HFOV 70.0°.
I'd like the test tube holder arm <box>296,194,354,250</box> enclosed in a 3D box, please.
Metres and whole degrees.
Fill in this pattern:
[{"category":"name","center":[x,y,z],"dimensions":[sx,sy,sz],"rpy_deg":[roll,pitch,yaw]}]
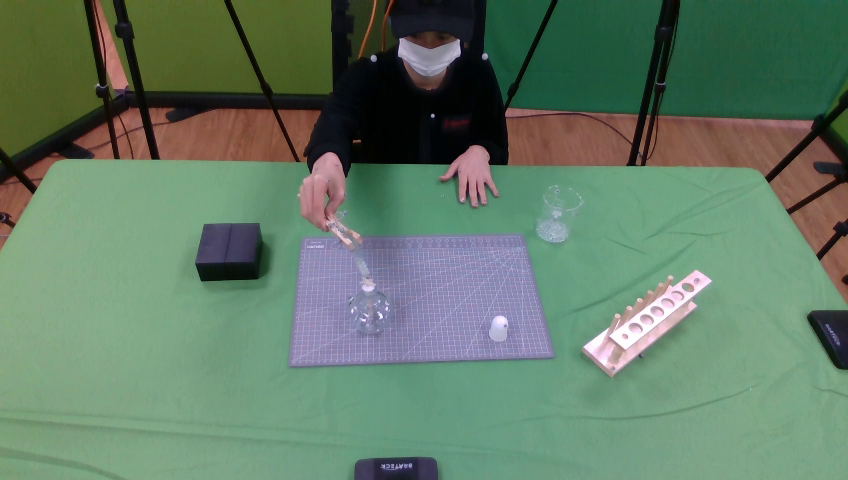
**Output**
[{"category":"test tube holder arm","center":[-0.157,-0.032,0.940],"dimensions":[0.013,0.015,0.177],"rpy_deg":[-35,44,-18]}]

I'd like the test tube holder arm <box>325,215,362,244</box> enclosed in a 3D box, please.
[{"category":"test tube holder arm","center":[-0.125,-0.016,0.913],"dimensions":[0.087,0.015,0.010],"rpy_deg":[27,59,39]}]

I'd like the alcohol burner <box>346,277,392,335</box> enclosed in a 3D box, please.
[{"category":"alcohol burner","center":[-0.093,0.106,1.021],"dimensions":[0.078,0.120,0.077],"rpy_deg":[1,46,-1]}]

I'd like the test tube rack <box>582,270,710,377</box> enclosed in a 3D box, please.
[{"category":"test tube rack","center":[0.389,0.132,1.057],"dimensions":[0.242,0.085,0.066],"rpy_deg":[-28,53,-28]}]

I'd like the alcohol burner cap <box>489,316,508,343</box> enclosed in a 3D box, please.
[{"category":"alcohol burner cap","center":[0.130,0.151,1.045],"dimensions":[0.034,0.048,0.033],"rpy_deg":[2,46,-2]}]

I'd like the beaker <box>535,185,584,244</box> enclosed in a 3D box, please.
[{"category":"beaker","center":[0.268,-0.048,1.213],"dimensions":[0.084,0.101,0.073],"rpy_deg":[6,46,0]}]

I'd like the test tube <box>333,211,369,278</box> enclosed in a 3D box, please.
[{"category":"test tube","center":[-0.108,0.010,0.915],"dimensions":[0.017,0.151,0.017],"rpy_deg":[-7,50,9]}]
